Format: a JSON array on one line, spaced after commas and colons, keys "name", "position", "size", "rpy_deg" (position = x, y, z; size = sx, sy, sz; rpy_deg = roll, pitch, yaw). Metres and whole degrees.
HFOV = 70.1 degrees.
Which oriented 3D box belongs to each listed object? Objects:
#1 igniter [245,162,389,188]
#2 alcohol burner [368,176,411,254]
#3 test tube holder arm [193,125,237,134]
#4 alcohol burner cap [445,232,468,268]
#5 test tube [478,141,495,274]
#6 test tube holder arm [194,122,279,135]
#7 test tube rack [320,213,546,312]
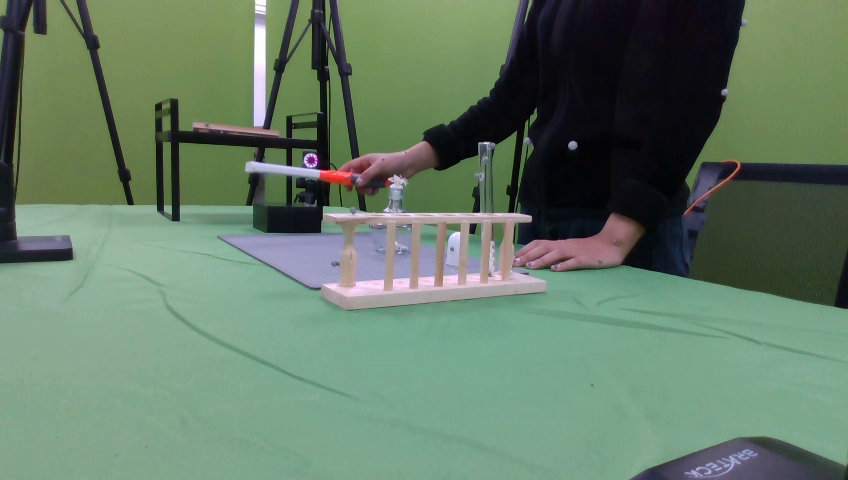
[{"name": "igniter", "position": [-0.194, -0.122, 1.140], "size": [0.278, 0.025, 0.057], "rpy_deg": [4, 4, -32]}, {"name": "alcohol burner", "position": [-0.045, -0.038, 0.913], "size": [0.078, 0.119, 0.078], "rpy_deg": [4, 7, 0]}, {"name": "test tube holder arm", "position": [-0.443, -0.235, 1.284], "size": [0.088, 0.015, 0.010], "rpy_deg": [-2, -20, -28]}, {"name": "alcohol burner cap", "position": [0.045, 0.013, 0.829], "size": [0.034, 0.048, 0.034], "rpy_deg": [2, 8, 0]}, {"name": "test tube", "position": [0.071, -0.036, 0.683], "size": [0.017, 0.150, 0.017], "rpy_deg": [-2, 8, 1]}, {"name": "test tube holder arm", "position": [-0.401, -0.238, 1.301], "size": [0.179, 0.015, 0.013], "rpy_deg": [-2, -21, -29]}, {"name": "test tube rack", "position": [0.018, 0.017, 0.638], "size": [0.244, 0.085, 0.066], "rpy_deg": [-2, 9, -31]}]
